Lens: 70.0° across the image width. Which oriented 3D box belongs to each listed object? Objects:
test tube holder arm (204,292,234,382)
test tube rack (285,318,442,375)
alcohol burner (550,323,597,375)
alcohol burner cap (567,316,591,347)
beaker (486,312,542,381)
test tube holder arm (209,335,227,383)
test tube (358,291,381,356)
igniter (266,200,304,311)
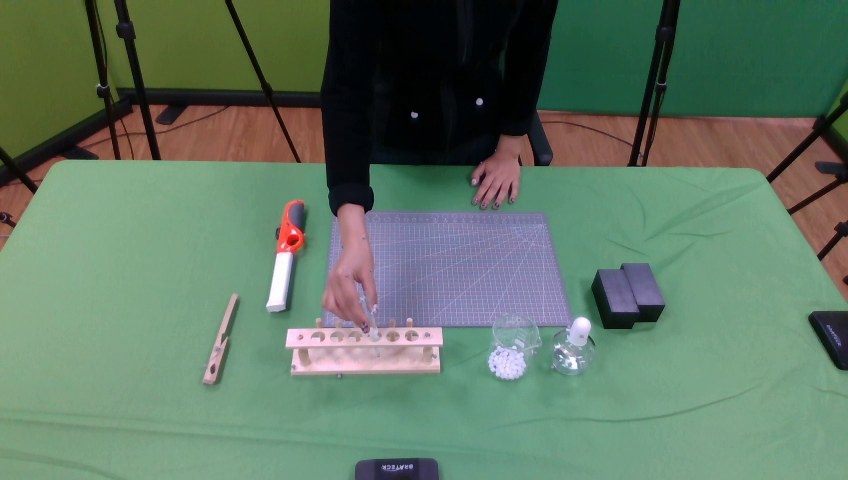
[{"bbox_3d":[-0.343,0.159,1.020,0.013,0.015,0.177,27,39,-27],"label":"test tube holder arm"},{"bbox_3d":[-0.095,0.168,0.986,0.242,0.085,0.066,0,46,-4],"label":"test tube rack"},{"bbox_3d":[0.248,0.168,0.991,0.078,0.119,0.077,2,48,-2],"label":"alcohol burner"},{"bbox_3d":[0.249,0.143,0.965,0.034,0.048,0.033,4,40,-3],"label":"alcohol burner cap"},{"bbox_3d":[0.144,0.177,0.985,0.084,0.101,0.074,22,49,16],"label":"beaker"},{"bbox_3d":[-0.338,0.193,0.991,0.010,0.015,0.087,28,39,-26],"label":"test tube holder arm"},{"bbox_3d":[-0.082,0.132,0.933,0.017,0.151,0.017,-3,44,3],"label":"test tube"},{"bbox_3d":[-0.263,0.020,1.156,0.057,0.025,0.274,-6,46,4],"label":"igniter"}]
